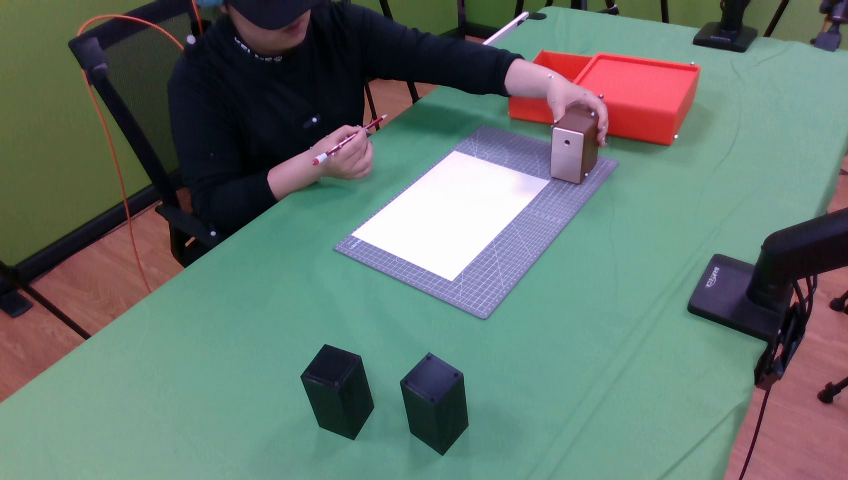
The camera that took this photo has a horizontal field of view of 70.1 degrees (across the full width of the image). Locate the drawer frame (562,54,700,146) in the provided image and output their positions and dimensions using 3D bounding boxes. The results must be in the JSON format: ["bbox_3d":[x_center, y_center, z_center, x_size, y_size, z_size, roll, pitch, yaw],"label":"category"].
[{"bbox_3d":[0.407,-0.282,1.195,0.212,0.083,0.202,17,45,25],"label":"drawer frame"}]

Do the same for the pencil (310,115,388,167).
[{"bbox_3d":[-0.128,-0.178,1.063,0.012,0.012,0.194,23,48,32],"label":"pencil"}]

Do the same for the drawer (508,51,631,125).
[{"bbox_3d":[0.305,-0.309,1.246,0.210,0.073,0.195,16,45,25],"label":"drawer"}]

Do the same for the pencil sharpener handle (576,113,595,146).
[{"bbox_3d":[0.291,-0.202,1.075,0.035,0.068,0.031,22,48,27],"label":"pencil sharpener handle"}]

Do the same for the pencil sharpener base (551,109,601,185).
[{"bbox_3d":[0.264,-0.163,1.052,0.061,0.107,0.077,20,47,29],"label":"pencil sharpener base"}]
